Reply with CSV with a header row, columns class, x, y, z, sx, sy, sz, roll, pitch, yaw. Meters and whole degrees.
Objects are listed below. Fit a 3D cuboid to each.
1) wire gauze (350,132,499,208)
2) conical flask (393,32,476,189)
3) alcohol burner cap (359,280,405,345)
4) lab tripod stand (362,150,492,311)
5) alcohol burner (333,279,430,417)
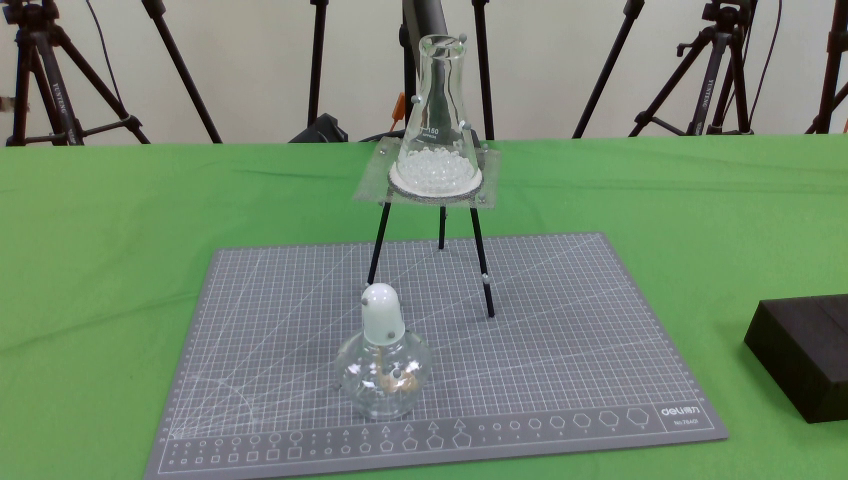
class,x,y,z,sx,sy,sz,roll,pitch,yaw
wire gauze,0.006,-0.064,0.554,0.121,0.011,0.124,6,37,6
conical flask,0.011,-0.111,0.517,0.075,0.123,0.074,2,35,-1
alcohol burner cap,-0.033,0.052,0.455,0.034,0.048,0.033,-4,38,3
lab tripod stand,0.011,-0.010,0.591,0.148,0.132,0.147,3,34,-2
alcohol burner,-0.034,0.081,0.477,0.078,0.120,0.077,1,33,0
